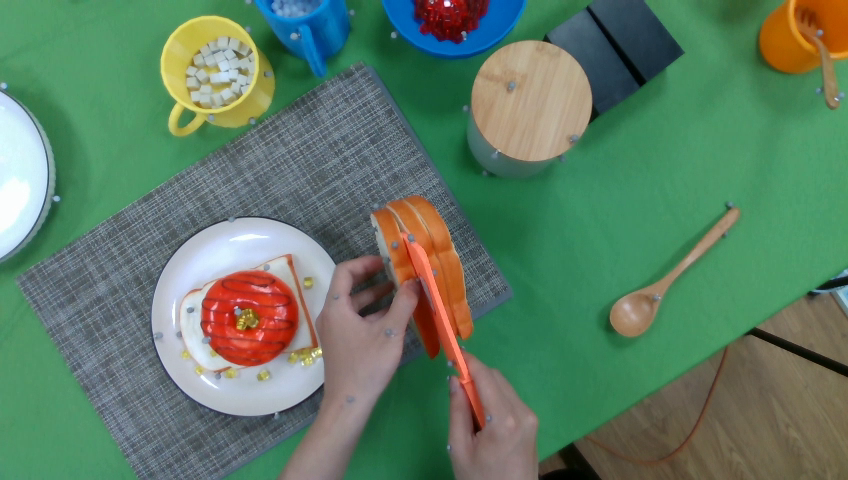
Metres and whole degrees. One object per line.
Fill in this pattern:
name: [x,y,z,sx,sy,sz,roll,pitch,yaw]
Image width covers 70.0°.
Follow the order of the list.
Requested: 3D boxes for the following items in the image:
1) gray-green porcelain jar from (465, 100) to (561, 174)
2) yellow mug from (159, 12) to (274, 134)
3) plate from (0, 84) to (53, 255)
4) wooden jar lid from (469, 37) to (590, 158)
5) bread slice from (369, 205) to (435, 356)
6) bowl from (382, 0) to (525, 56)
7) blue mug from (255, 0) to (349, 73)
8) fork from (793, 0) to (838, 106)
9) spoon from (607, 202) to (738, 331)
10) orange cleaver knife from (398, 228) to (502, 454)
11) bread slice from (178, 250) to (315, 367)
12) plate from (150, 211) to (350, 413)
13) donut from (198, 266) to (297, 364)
gray-green porcelain jar: [0.095,-0.124,0.607,0.106,0.126,0.105,0,88,0]
yellow mug: [-0.225,-0.165,0.637,0.100,0.064,0.131,36,90,2]
plate: [-0.496,-0.074,0.647,0.208,0.039,0.207,0,89,0]
wooden jar lid: [0.094,-0.127,0.545,0.108,0.020,0.108,0,90,-3]
bread slice: [-0.023,0.031,0.590,0.018,0.106,0.135,-20,111,-7]
bowl: [0.029,-0.259,0.634,0.151,0.077,0.151,0,89,0]
blue mug: [-0.121,-0.230,0.619,0.082,0.106,0.116,-12,88,0]
fork: [0.388,-0.190,0.598,0.028,0.019,0.206,30,45,-6]
spoon: [0.273,0.027,0.656,0.193,0.022,0.041,-44,71,-1]
orange cleaver knife: [0.021,0.087,0.539,0.012,0.077,0.212,-23,97,-12]
bread slice: [-0.192,0.080,0.645,0.131,0.019,0.105,-19,88,-4]
plate: [-0.180,0.074,0.642,0.209,0.038,0.209,0,89,0]
donut: [-0.178,0.075,0.614,0.099,0.048,0.099,0,89,-4]
